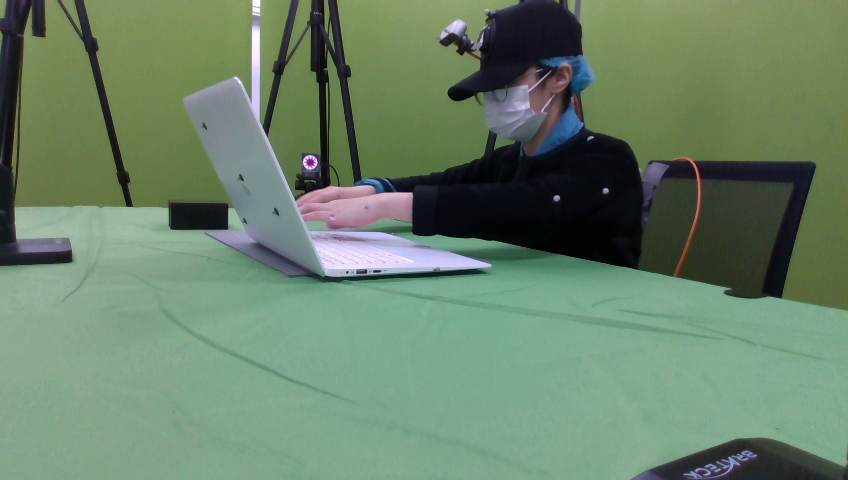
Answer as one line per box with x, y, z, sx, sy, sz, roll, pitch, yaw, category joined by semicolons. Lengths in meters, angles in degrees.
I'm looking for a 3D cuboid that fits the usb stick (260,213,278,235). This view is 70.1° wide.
-0.260;-0.025;1.016;0.021;0.027;0.059;1;19;-27;usb stick

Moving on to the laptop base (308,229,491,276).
-0.095;0.015;0.888;0.237;0.023;0.352;1;7;-30;laptop base

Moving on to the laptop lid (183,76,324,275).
-0.237;-0.085;0.791;0.013;0.242;0.355;-30;23;-23;laptop lid
